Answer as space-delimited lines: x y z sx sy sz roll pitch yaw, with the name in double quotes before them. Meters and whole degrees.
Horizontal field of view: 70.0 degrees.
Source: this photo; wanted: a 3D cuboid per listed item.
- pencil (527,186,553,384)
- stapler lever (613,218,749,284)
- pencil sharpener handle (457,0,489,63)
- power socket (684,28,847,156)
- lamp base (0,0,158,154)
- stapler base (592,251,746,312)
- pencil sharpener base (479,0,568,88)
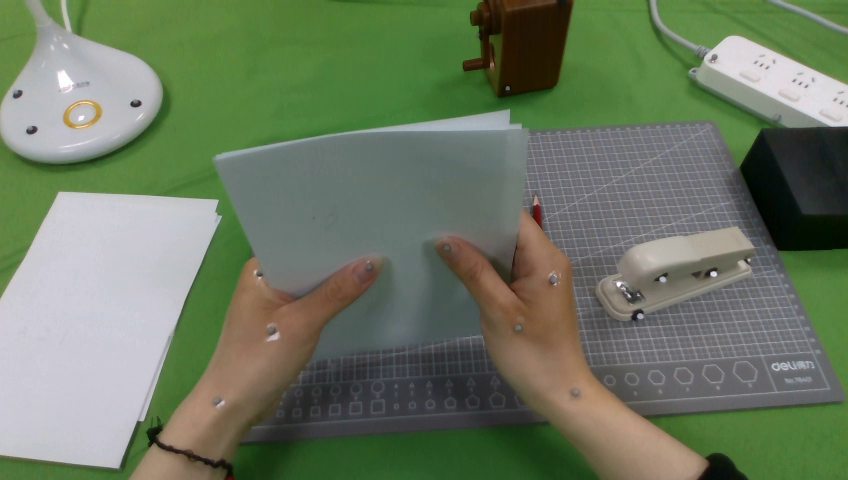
"pencil" 0.093 0.027 0.500 0.012 0.012 0.192 1 53 2
"stapler lever" 0.203 0.005 0.475 0.118 0.040 0.026 -17 57 -12
"pencil sharpener handle" 0.046 -0.209 0.596 0.031 0.068 0.035 -13 33 -8
"power socket" 0.379 -0.148 0.611 0.225 0.033 0.072 38 63 25
"lamp base" -0.364 -0.201 0.564 0.161 0.182 0.177 -30 57 -19
"stapler base" 0.202 0.021 0.494 0.131 0.024 0.041 -17 57 -13
"pencil sharpener base" 0.094 -0.217 0.617 0.077 0.108 0.060 -13 55 -8
